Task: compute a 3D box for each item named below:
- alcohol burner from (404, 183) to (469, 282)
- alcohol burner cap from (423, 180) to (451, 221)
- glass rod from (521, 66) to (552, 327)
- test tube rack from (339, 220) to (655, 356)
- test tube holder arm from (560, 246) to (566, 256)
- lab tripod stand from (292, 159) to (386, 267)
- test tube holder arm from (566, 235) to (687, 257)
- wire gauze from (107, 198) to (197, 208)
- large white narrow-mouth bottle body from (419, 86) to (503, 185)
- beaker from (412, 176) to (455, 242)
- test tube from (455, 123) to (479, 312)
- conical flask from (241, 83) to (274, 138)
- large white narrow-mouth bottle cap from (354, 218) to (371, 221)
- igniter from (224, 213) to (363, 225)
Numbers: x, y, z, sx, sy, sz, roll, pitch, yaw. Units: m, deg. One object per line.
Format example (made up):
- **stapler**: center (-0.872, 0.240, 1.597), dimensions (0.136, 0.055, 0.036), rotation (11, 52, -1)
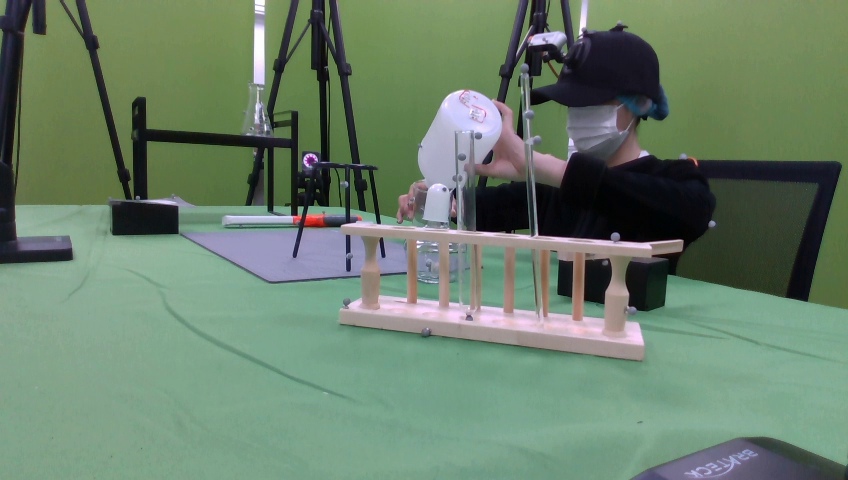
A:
- **alcohol burner**: center (0.015, -0.011, 0.715), dimensions (0.078, 0.119, 0.078), rotation (0, 7, 0)
- **alcohol burner cap**: center (0.017, -0.047, 0.711), dimensions (0.034, 0.048, 0.034), rotation (8, 5, 0)
- **glass rod**: center (0.085, -0.028, 0.454), dimensions (0.008, 0.199, 0.008), rotation (-7, 10, 2)
- **test tube rack**: center (0.056, 0.032, 0.495), dimensions (0.242, 0.085, 0.067), rotation (4, 7, 15)
- **test tube holder arm**: center (0.173, 0.007, 0.611), dimensions (0.088, 0.015, 0.010), rotation (-3, 9, -30)
- **lab tripod stand**: center (-0.105, -0.039, 0.798), dimensions (0.148, 0.131, 0.148), rotation (2, 5, 0)
- **test tube holder arm**: center (0.215, 0.006, 0.629), dimensions (0.179, 0.015, 0.013), rotation (-3, 9, -30)
- **wire gauze**: center (-0.462, -0.064, 1.023), dimensions (0.126, 0.011, 0.121), rotation (-2, 7, -32)
- **large white narrow-mouth bottle body**: center (0.046, -0.146, 0.959), dimensions (0.102, 0.101, 0.194), rotation (-1, -28, -21)
- **beaker**: center (0.018, -0.053, 1.061), dimensions (0.074, 0.100, 0.083), rotation (-15, 29, -35)
- **test tube**: center (0.034, -0.016, 0.476), dimensions (0.017, 0.150, 0.017), rotation (-2, 10, 1)
- **conical flask**: center (-0.384, -0.297, 1.393), dimensions (0.075, 0.122, 0.075), rotation (2, 7, 0)
- **large white narrow-mouth bottle cap**: center (-0.120, -0.029, 1.184), dimensions (0.038, 0.024, 0.037), rotation (2, 8, 0)
- **igniter**: center (-0.255, -0.041, 1.210), dimensions (0.278, 0.025, 0.057), rotation (-2, -2, -31)
